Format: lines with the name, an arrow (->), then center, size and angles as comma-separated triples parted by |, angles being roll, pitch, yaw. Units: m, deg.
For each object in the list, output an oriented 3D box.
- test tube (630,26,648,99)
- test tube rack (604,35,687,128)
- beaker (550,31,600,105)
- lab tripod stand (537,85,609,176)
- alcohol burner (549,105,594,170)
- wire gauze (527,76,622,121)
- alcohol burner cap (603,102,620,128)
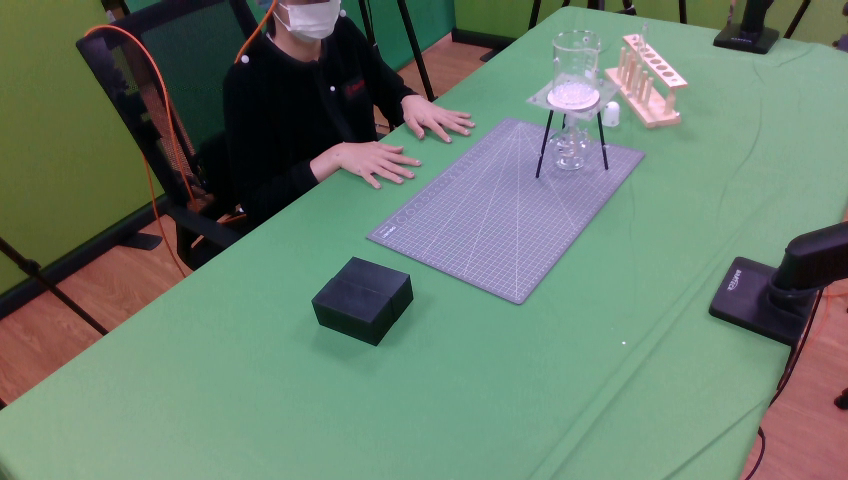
test tube -> 0.426, -0.350, 1.199 | 0.017, 0.151, 0.017 | -4, 42, 4
test tube rack -> 0.447, -0.330, 1.241 | 0.067, 0.085, 0.241 | -9, 41, -2
beaker -> 0.250, -0.281, 0.996 | 0.074, 0.101, 0.083 | -37, 49, -27
lab tripod stand -> 0.259, -0.192, 1.068 | 0.148, 0.132, 0.147 | -4, 43, 4
alcohol burner -> 0.262, -0.186, 1.076 | 0.078, 0.119, 0.077 | -6, 41, 6
wire gauze -> 0.255, -0.247, 1.030 | 0.124, 0.011, 0.122 | 23, 49, 34
alcohol burner cap -> 0.371, -0.249, 1.193 | 0.034, 0.048, 0.033 | -5, 41, 5
